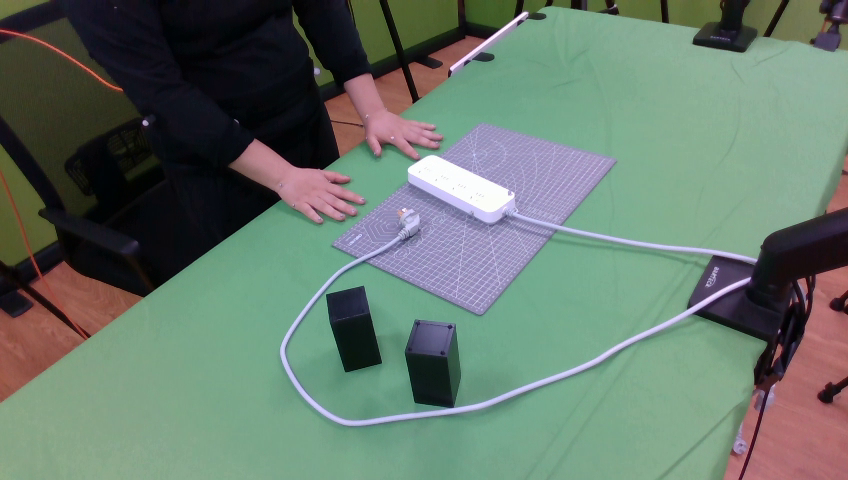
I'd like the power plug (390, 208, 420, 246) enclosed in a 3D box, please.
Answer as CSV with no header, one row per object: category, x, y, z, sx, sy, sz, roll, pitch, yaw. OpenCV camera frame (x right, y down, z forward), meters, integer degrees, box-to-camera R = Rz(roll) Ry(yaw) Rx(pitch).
power plug,-0.038,-0.027,0.987,0.073,0.035,0.052,-23,50,-35

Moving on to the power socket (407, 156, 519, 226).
power socket,0.062,-0.089,1.053,0.072,0.033,0.225,-36,49,-29
